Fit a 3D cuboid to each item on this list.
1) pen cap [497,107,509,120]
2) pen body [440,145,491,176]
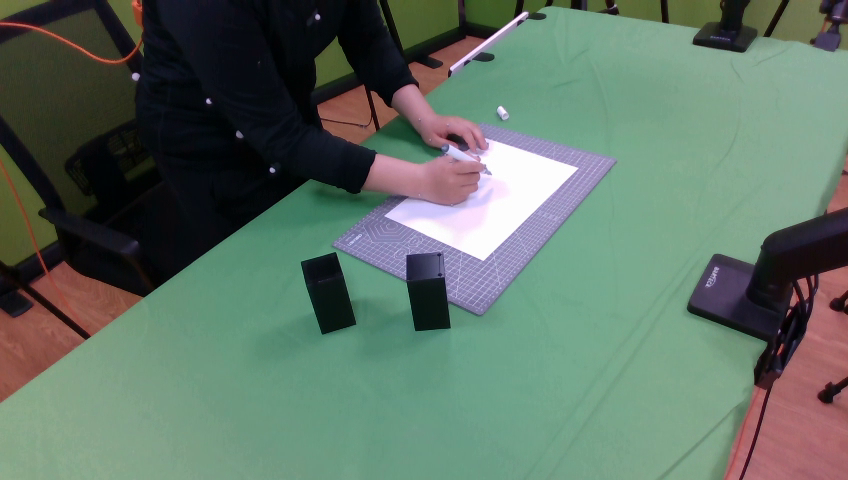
[{"bbox_3d":[0.164,-0.264,1.261,0.017,0.017,0.038,-14,41,-7],"label":"pen cap"},{"bbox_3d":[0.074,-0.130,1.018,0.017,0.145,0.017,-11,71,37],"label":"pen body"}]
